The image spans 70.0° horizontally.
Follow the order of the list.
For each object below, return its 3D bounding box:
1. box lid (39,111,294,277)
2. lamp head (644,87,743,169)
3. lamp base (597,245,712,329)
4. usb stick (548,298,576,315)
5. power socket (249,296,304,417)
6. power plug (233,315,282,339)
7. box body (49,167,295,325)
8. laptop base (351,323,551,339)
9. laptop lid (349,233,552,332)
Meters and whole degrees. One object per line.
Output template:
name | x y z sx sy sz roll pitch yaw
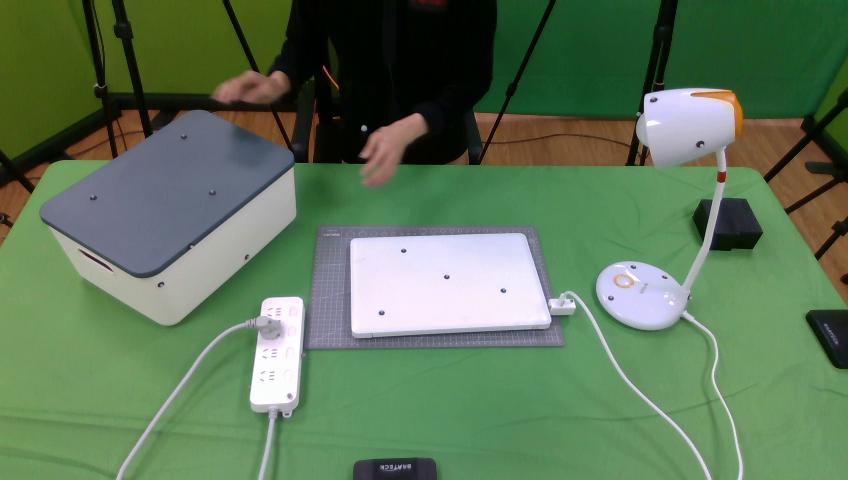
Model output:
box lid | -0.435 -0.097 1.055 0.262 0.015 0.370 25 49 18
lamp head | 0.380 -0.161 0.851 0.122 0.113 0.112 -4 42 25
lamp base | 0.418 0.051 1.072 0.179 0.181 0.160 22 49 13
usb stick | 0.240 0.120 1.086 0.059 0.027 0.021 -2 51 -2
power socket | -0.239 0.182 0.996 0.072 0.033 0.225 -2 47 -5
power plug | -0.271 0.144 0.999 0.072 0.053 0.035 6 47 3
box body | -0.437 -0.046 1.110 0.253 0.161 0.363 24 49 18
laptop base | 0.040 0.080 1.125 0.355 0.023 0.234 -2 43 -6
laptop lid | 0.040 0.071 1.118 0.357 0.013 0.240 -1 44 -5
